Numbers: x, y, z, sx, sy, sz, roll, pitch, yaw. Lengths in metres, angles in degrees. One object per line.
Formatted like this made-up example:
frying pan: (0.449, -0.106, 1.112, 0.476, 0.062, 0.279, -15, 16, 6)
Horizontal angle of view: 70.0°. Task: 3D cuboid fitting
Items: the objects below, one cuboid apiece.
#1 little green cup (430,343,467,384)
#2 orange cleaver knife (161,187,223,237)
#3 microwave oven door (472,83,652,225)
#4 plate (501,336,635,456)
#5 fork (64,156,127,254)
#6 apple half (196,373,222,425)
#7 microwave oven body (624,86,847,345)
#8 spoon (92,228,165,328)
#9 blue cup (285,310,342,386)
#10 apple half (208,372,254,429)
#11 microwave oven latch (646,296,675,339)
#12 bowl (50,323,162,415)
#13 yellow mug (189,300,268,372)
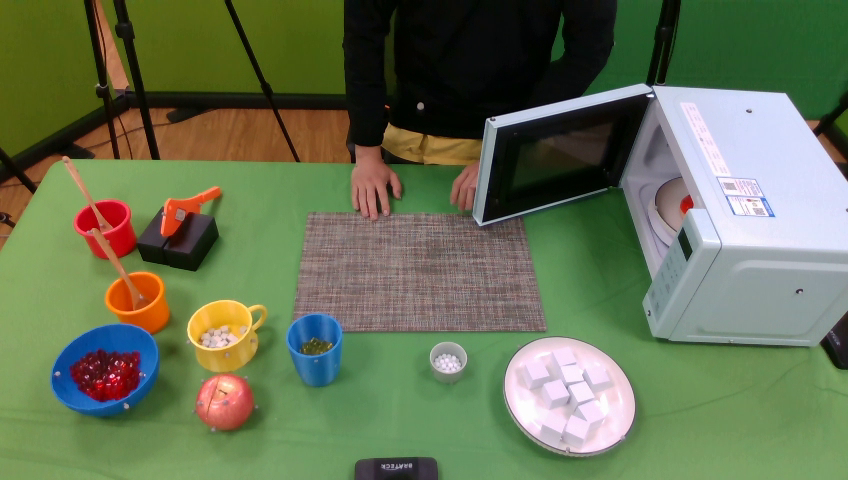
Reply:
little green cup: (0.039, 0.203, 0.994, 0.061, 0.039, 0.061, 2, 46, -2)
orange cleaver knife: (-0.448, -0.058, 1.180, 0.012, 0.077, 0.211, 13, 17, 6)
microwave oven door: (0.272, -0.171, 1.205, 0.356, 0.245, 0.039, -16, 49, -18)
plate: (0.225, 0.248, 0.963, 0.208, 0.039, 0.206, 2, 46, -2)
fork: (-0.614, -0.064, 1.130, 0.028, 0.018, 0.207, -29, 97, -16)
apple half: (-0.322, 0.239, 0.907, 0.033, 0.081, 0.081, 7, 46, -1)
microwave oven body: (0.567, -0.053, 1.118, 0.326, 0.261, 0.439, 2, 45, -1)
spoon: (-0.496, 0.063, 1.014, 0.041, 0.194, 0.021, -33, 12, -31)
blue cup: (-0.170, 0.179, 0.959, 0.093, 0.101, 0.092, 1, 44, -1)
apple half: (-0.282, 0.244, 0.908, 0.053, 0.075, 0.080, 7, 43, -1)
microwave oven latch: (0.412, 0.134, 1.061, 0.030, 0.029, 0.078, 4, 45, 1)
bowl: (-0.472, 0.209, 0.924, 0.151, 0.077, 0.150, 3, 45, -2)
yellow mug: (-0.316, 0.149, 1.002, 0.131, 0.064, 0.099, -32, 56, -31)
